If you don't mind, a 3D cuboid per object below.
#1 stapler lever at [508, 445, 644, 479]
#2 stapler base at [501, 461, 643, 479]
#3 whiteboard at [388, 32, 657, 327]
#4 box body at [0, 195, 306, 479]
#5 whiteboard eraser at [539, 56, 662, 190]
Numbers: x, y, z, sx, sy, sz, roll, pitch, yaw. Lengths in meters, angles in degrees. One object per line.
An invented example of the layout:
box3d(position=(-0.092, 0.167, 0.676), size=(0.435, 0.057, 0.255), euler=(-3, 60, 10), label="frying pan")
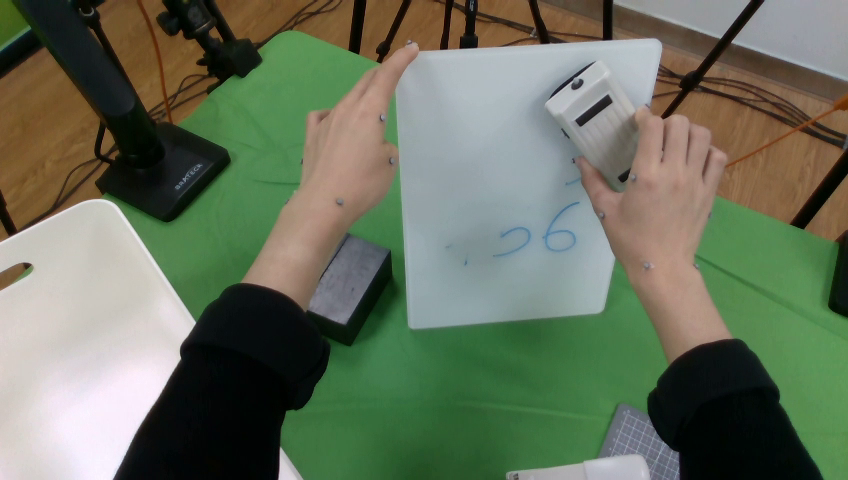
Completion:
box3d(position=(0.136, 0.205, 0.539), size=(0.118, 0.040, 0.026), euler=(-6, 53, -2), label="stapler lever")
box3d(position=(0.138, 0.219, 0.560), size=(0.130, 0.024, 0.041), euler=(-6, 54, -2), label="stapler base")
box3d(position=(0.077, -0.076, 0.618), size=(0.217, 0.308, 0.142), euler=(-4, 38, -3), label="whiteboard")
box3d(position=(-0.274, 0.176, 0.493), size=(0.254, 0.161, 0.361), euler=(-35, 65, -21), label="box body")
box3d(position=(0.147, -0.095, 0.503), size=(0.055, 0.114, 0.041), euler=(-40, 34, 14), label="whiteboard eraser")
